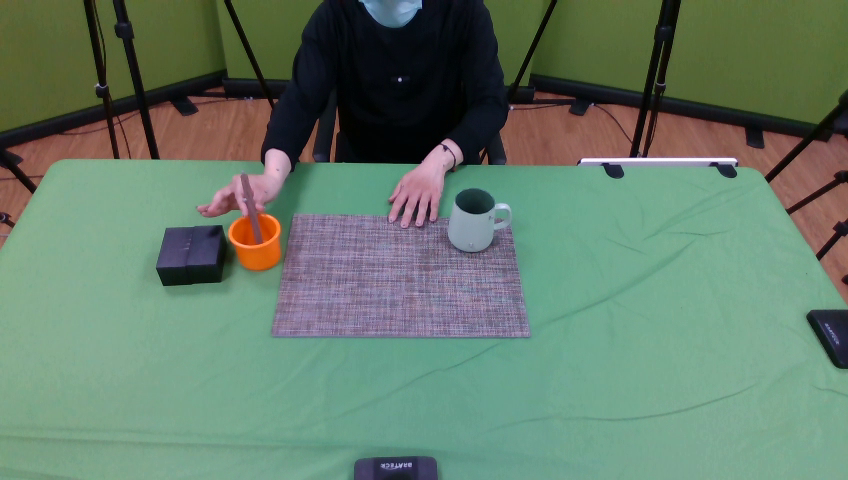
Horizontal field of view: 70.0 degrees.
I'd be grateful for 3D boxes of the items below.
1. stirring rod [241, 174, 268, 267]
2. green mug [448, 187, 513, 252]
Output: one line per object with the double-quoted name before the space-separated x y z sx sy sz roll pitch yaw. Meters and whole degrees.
"stirring rod" -0.313 -0.035 1.119 0.014 0.176 0.006 -14 9 -23
"green mug" 0.111 -0.041 1.179 0.125 0.105 0.092 -7 47 -10
